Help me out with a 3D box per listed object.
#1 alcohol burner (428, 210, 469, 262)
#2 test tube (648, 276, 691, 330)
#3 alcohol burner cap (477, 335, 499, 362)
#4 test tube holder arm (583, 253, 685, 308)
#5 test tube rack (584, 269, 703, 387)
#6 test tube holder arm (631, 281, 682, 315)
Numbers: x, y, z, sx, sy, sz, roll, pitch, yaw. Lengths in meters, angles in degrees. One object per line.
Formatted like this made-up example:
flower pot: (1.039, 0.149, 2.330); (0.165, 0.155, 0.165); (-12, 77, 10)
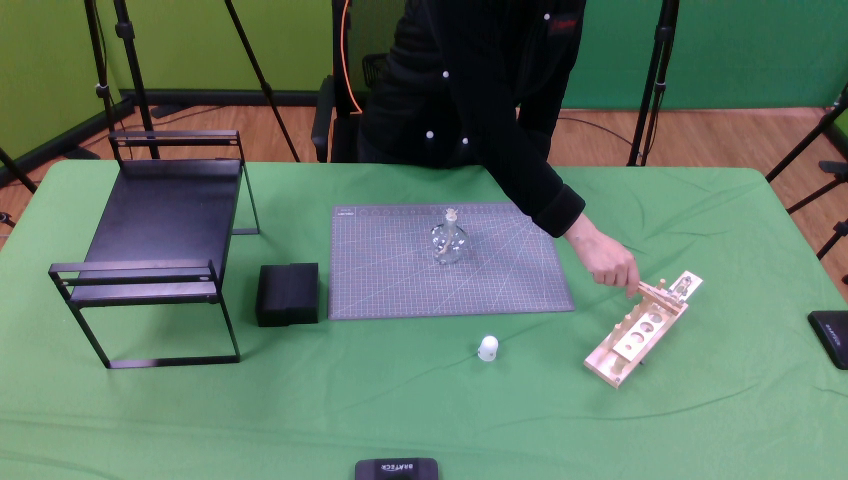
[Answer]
alcohol burner: (0.048, -0.014, 1.146); (0.078, 0.119, 0.077); (3, 48, -3)
test tube: (0.405, 0.108, 1.006); (0.017, 0.151, 0.017); (3, 52, -4)
alcohol burner cap: (0.109, 0.180, 1.017); (0.034, 0.048, 0.033); (4, 50, -4)
test tube holder arm: (0.351, 0.068, 1.020); (0.178, 0.015, 0.013); (29, 56, 14)
test tube rack: (0.381, 0.139, 1.045); (0.066, 0.085, 0.242); (37, 55, 28)
test tube holder arm: (0.384, 0.094, 1.005); (0.087, 0.015, 0.010); (37, 59, 19)
